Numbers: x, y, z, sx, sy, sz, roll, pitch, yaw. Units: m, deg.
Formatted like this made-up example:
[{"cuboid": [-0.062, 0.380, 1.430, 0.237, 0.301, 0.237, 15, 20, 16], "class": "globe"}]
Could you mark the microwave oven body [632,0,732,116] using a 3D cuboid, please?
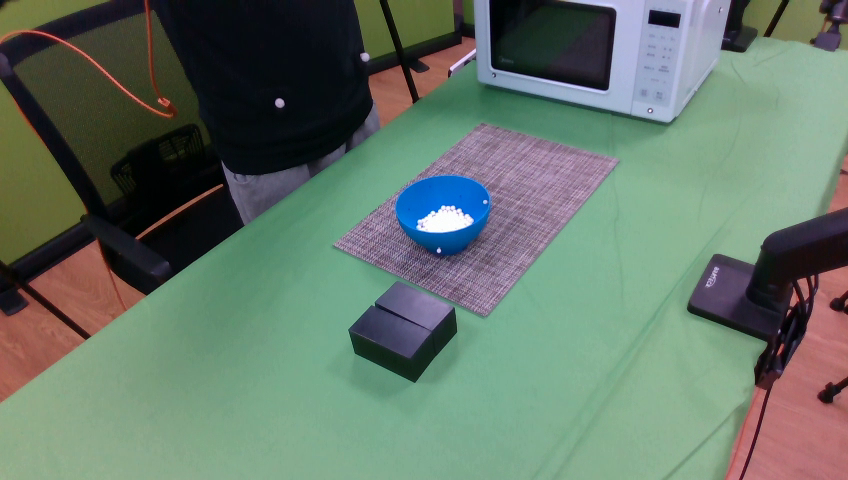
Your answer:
[{"cuboid": [0.377, -0.462, 1.267, 0.438, 0.261, 0.327, 21, 48, 30], "class": "microwave oven body"}]

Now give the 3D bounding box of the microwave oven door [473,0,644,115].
[{"cuboid": [0.257, -0.396, 1.199, 0.353, 0.245, 0.039, 21, 48, 29], "class": "microwave oven door"}]

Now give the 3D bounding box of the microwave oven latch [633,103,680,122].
[{"cuboid": [0.443, -0.249, 1.157, 0.078, 0.029, 0.030, 21, 48, 30], "class": "microwave oven latch"}]

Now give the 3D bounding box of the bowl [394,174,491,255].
[{"cuboid": [0.032, -0.030, 0.949, 0.151, 0.077, 0.150, -4, 40, 4], "class": "bowl"}]
